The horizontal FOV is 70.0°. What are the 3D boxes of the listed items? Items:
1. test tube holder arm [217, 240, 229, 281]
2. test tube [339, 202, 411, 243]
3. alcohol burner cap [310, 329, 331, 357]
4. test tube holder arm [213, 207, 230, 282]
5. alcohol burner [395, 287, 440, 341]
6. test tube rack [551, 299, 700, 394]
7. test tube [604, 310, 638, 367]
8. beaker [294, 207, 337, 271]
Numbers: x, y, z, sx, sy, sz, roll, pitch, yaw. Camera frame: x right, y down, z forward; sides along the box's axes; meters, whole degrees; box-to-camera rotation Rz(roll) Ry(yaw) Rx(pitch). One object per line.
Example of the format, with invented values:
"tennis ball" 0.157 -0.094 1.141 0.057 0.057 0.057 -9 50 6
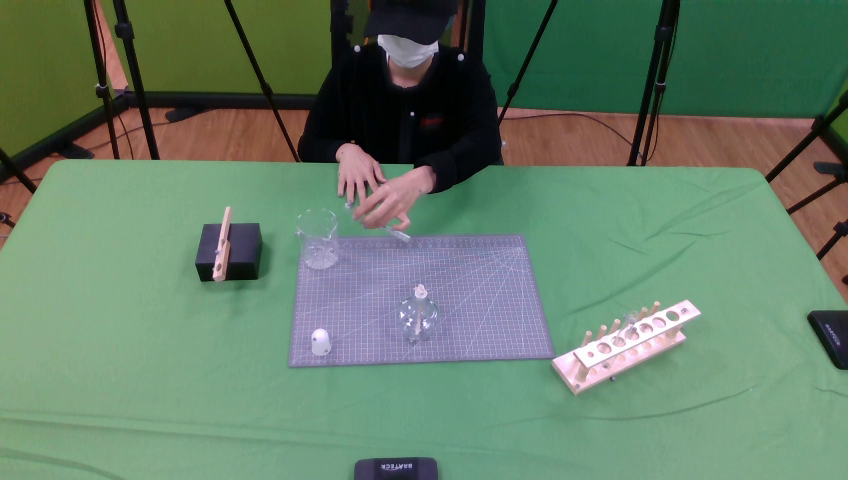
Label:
"test tube holder arm" -0.354 0.035 1.070 0.010 0.015 0.087 -10 47 -1
"test tube" -0.085 -0.029 1.079 0.151 0.017 0.017 27 38 -28
"alcohol burner cap" -0.173 0.168 1.005 0.034 0.048 0.033 2 46 -2
"test tube holder arm" -0.366 0.004 1.101 0.013 0.015 0.177 -10 47 -1
"alcohol burner" -0.010 0.116 1.018 0.078 0.119 0.077 3 47 -3
"test tube rack" 0.339 0.166 1.021 0.242 0.085 0.066 -19 50 -21
"test tube" 0.310 0.158 0.957 0.017 0.151 0.017 1 49 -1
"beaker" -0.196 0.003 1.123 0.074 0.101 0.083 -23 53 -24
